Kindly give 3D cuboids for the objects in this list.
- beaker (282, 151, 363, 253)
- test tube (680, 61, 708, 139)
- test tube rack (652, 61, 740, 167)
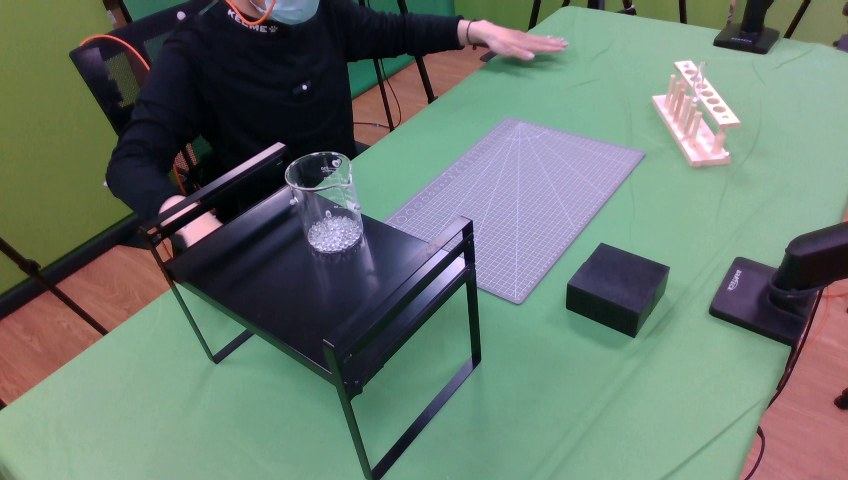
[{"bbox_3d":[-0.110,-0.041,0.697,0.083,0.101,0.074,18,47,26],"label":"beaker"},{"bbox_3d":[0.476,-0.245,1.068,0.017,0.151,0.017,-3,42,3],"label":"test tube"},{"bbox_3d":[0.499,-0.242,1.130,0.067,0.085,0.241,-5,41,3],"label":"test tube rack"}]
